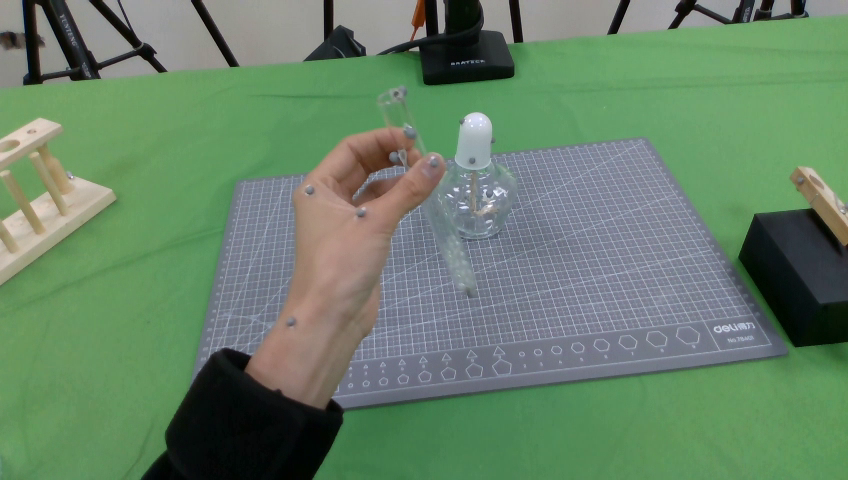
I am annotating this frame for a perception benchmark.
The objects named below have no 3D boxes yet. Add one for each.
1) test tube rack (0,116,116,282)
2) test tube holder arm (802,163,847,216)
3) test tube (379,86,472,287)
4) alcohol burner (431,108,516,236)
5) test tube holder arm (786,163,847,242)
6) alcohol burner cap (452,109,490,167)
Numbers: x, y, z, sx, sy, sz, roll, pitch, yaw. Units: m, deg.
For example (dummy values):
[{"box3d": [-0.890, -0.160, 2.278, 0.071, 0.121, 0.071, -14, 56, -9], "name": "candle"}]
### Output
[{"box3d": [-0.413, -0.011, 0.549, 0.066, 0.086, 0.241, 18, 47, 22], "name": "test tube rack"}, {"box3d": [0.328, -0.001, 0.456, 0.013, 0.015, 0.176, 0, 43, -6], "name": "test tube holder arm"}, {"box3d": [0.004, -0.025, 0.369, 0.017, 0.152, 0.017, -13, 39, 11], "name": "test tube"}, {"box3d": [0.044, -0.063, 0.542, 0.078, 0.120, 0.077, -3, 41, 3], "name": "alcohol burner"}, {"box3d": [0.320, -0.032, 0.488, 0.010, 0.015, 0.087, 1, 43, -6], "name": "test tube holder arm"}, {"box3d": [0.042, -0.089, 0.517, 0.034, 0.048, 0.033, 2, 42, -1], "name": "alcohol burner cap"}]
